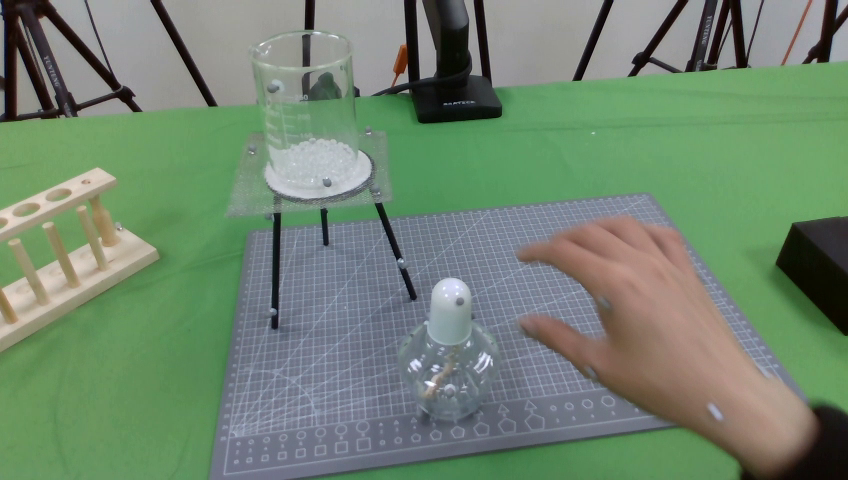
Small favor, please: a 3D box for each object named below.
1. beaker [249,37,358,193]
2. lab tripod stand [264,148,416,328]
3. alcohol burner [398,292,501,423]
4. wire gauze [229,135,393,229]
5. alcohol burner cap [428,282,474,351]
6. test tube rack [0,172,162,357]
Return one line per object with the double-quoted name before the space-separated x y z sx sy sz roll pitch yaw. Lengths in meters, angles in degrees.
"beaker" -0.090 -0.094 0.463 0.083 0.101 0.074 19 41 22
"lab tripod stand" -0.079 -0.004 0.534 0.148 0.132 0.147 1 37 0
"alcohol burner" 0.019 0.078 0.442 0.078 0.120 0.077 0 40 1
"wire gauze" -0.088 -0.054 0.491 0.121 0.011 0.123 -4 40 -4
"alcohol burner cap" 0.019 0.050 0.420 0.034 0.048 0.033 1 40 0
"test tube rack" -0.366 0.037 0.531 0.066 0.086 0.242 25 45 30
